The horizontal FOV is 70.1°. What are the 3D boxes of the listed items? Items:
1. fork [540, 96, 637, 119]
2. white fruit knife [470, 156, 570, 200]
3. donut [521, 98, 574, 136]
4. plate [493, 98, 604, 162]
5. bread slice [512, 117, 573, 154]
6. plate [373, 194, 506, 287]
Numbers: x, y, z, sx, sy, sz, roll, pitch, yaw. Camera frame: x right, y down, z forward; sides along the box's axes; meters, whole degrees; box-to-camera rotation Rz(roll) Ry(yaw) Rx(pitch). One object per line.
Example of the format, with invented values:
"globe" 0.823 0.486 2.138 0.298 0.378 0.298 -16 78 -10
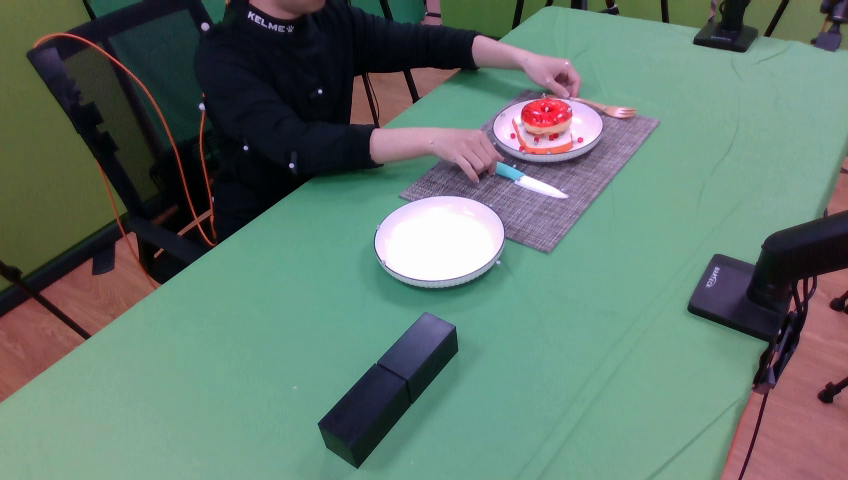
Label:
"fork" 0.332 -0.275 1.240 0.206 0.019 0.028 22 56 28
"white fruit knife" 0.169 -0.111 1.076 0.205 0.016 0.027 28 80 32
"donut" 0.232 -0.232 1.135 0.099 0.048 0.098 -4 41 4
"plate" 0.237 -0.206 1.158 0.209 0.038 0.208 -4 40 4
"bread slice" 0.232 -0.205 1.160 0.105 0.019 0.131 -7 40 1
"plate" 0.025 0.003 0.951 0.207 0.039 0.206 -4 41 4
